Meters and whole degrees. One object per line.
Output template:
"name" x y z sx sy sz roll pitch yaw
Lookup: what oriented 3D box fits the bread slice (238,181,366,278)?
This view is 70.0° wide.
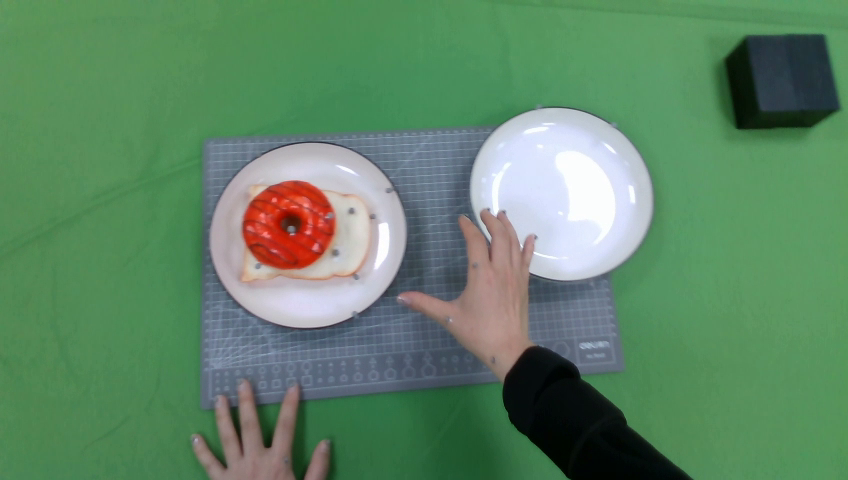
"bread slice" -0.131 -0.012 0.657 0.134 0.018 0.106 -1 77 -6

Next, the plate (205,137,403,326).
"plate" -0.126 -0.008 0.656 0.209 0.038 0.208 1 76 -4

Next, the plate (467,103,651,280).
"plate" 0.150 -0.054 0.688 0.208 0.039 0.206 1 76 -4

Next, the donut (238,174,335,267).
"donut" -0.142 -0.021 0.630 0.099 0.048 0.098 1 76 -3
